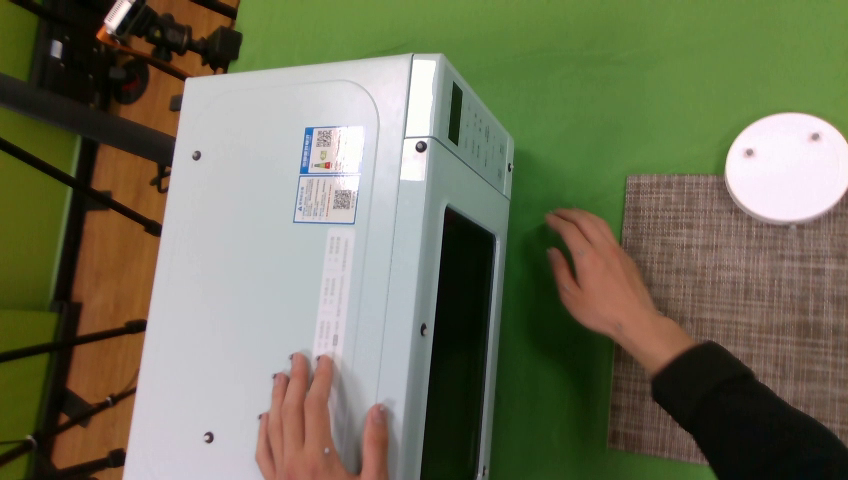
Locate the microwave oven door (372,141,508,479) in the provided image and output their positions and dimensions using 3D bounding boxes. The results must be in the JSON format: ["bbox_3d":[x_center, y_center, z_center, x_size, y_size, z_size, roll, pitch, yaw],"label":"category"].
[{"bbox_3d":[0.024,0.107,0.603,0.039,0.245,0.354,1,81,25],"label":"microwave oven door"}]

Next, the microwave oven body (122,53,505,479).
[{"bbox_3d":[-0.104,0.064,0.672,0.324,0.262,0.440,2,82,24],"label":"microwave oven body"}]

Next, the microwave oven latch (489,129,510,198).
[{"bbox_3d":[0.087,-0.091,0.722,0.030,0.030,0.079,2,83,24],"label":"microwave oven latch"}]

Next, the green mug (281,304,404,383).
[{"bbox_3d":[-0.084,0.113,0.679,0.125,0.105,0.092,-12,77,18],"label":"green mug"}]

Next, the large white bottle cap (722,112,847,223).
[{"bbox_3d":[0.369,-0.074,0.620,0.114,0.018,0.114,-5,79,23],"label":"large white bottle cap"}]
